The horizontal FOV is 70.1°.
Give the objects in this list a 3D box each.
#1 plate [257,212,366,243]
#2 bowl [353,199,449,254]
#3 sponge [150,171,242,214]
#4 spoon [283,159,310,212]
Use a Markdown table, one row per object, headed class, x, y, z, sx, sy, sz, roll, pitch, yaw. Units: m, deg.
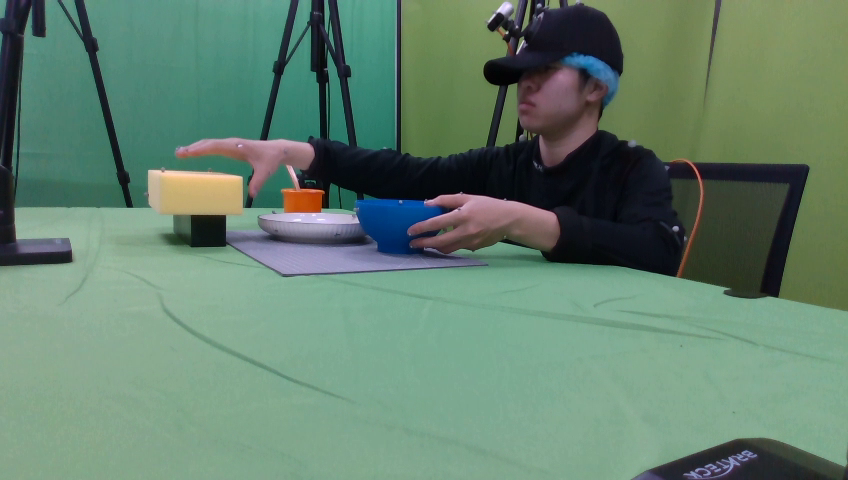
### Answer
| class | x | y | z | sx | sy | sz | roll | pitch | yaw |
| --- | --- | --- | --- | --- | --- | --- | --- | --- | --- |
| plate | -0.189 | -0.023 | 1.072 | 0.209 | 0.038 | 0.209 | 3 | 7 | 0 |
| bowl | -0.038 | -0.021 | 0.952 | 0.151 | 0.077 | 0.151 | 3 | 7 | 0 |
| sponge | -0.379 | -0.079 | 0.994 | 0.119 | 0.061 | 0.206 | -1 | 7 | -29 |
| spoon | -0.279 | -0.111 | 1.323 | 0.042 | 0.193 | 0.021 | 3 | -39 | -35 |
